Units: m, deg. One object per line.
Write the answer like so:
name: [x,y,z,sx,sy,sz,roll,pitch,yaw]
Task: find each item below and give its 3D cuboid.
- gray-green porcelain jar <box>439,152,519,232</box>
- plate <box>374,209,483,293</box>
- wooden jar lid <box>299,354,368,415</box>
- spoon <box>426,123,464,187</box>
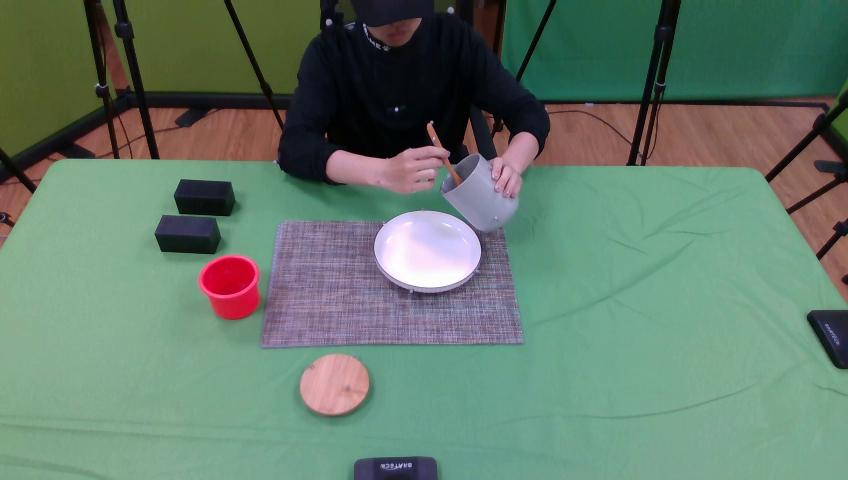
gray-green porcelain jar: [0.109,-0.086,1.148,0.127,0.106,0.105,42,43,-21]
plate: [0.008,0.024,1.158,0.208,0.039,0.206,2,46,-2]
wooden jar lid: [-0.143,0.232,0.964,0.108,0.021,0.107,2,45,-2]
spoon: [0.049,-0.134,1.132,0.041,0.194,0.021,-42,25,-20]
